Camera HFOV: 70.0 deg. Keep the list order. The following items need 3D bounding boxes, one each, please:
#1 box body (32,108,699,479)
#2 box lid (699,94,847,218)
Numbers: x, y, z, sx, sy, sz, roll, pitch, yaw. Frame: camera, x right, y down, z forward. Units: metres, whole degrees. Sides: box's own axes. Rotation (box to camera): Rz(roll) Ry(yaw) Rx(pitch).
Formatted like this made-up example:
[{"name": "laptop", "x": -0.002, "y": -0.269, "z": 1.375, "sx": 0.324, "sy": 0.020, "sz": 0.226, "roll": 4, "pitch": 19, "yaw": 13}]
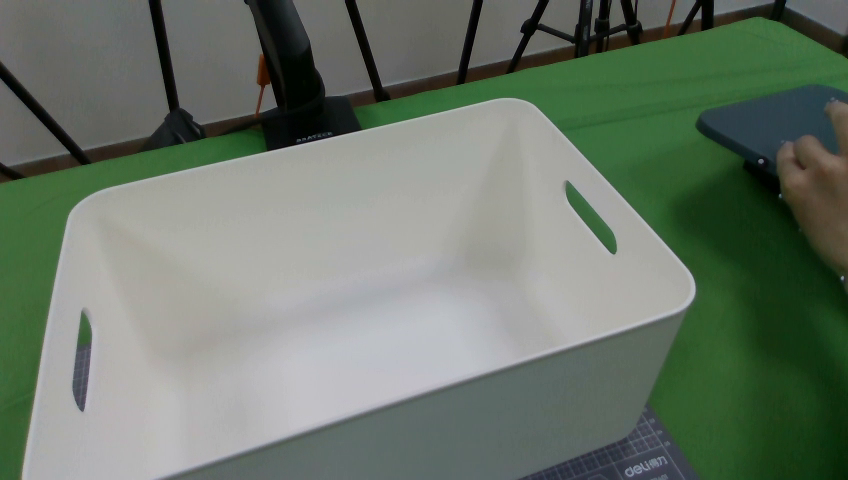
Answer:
[{"name": "box body", "x": -0.039, "y": 0.064, "z": 0.443, "sx": 0.365, "sy": 0.162, "sz": 0.251, "roll": -15, "pitch": 42, "yaw": -11}, {"name": "box lid", "x": 0.466, "y": -0.043, "z": 0.552, "sx": 0.264, "sy": 0.015, "sz": 0.367, "roll": -16, "pitch": 44, "yaw": -31}]
